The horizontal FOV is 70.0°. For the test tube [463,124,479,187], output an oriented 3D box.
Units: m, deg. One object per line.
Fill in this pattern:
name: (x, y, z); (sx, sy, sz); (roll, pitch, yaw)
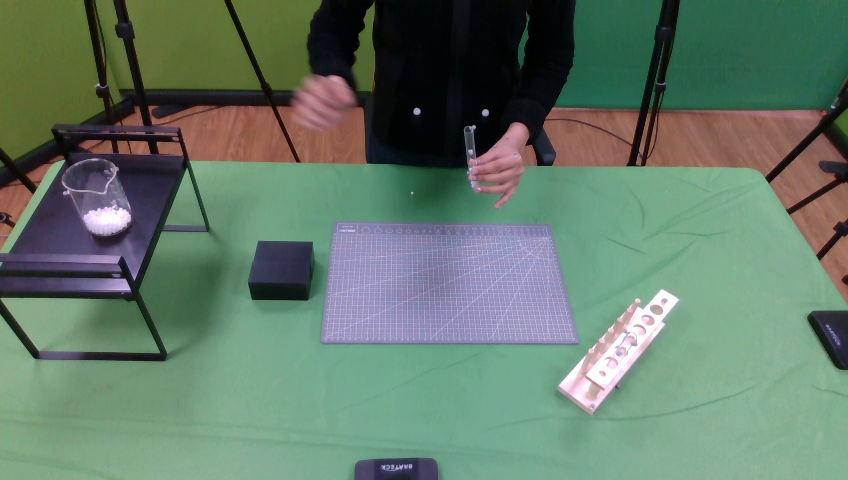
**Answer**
test tube: (0.080, -0.138, 1.014); (0.017, 0.151, 0.017); (-4, 57, 7)

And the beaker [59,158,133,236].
beaker: (-0.488, -0.060, 0.915); (0.074, 0.101, 0.083); (-35, 58, -30)

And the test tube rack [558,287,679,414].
test tube rack: (0.326, 0.170, 1.009); (0.066, 0.085, 0.242); (36, 54, 26)

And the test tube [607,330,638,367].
test tube: (0.292, 0.184, 0.925); (0.017, 0.151, 0.017); (4, 49, -4)
